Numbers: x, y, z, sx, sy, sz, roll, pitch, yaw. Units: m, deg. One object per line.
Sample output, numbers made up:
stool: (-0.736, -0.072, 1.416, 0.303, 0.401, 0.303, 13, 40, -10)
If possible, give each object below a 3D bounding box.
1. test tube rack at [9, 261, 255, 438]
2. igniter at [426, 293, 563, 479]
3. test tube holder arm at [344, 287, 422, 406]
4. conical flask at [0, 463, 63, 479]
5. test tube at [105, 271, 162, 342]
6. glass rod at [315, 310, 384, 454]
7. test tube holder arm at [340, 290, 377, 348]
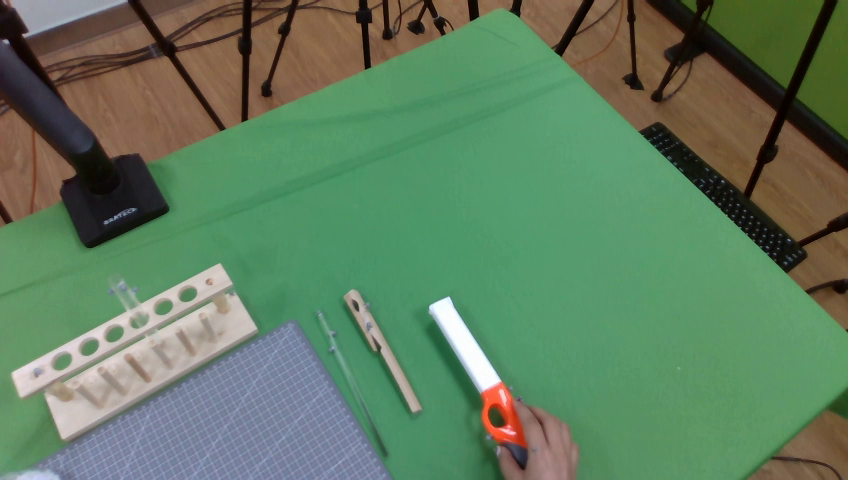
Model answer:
test tube rack: (-0.331, 0.127, 0.712, 0.242, 0.086, 0.066, -30, 66, -19)
igniter: (0.081, 0.182, 0.722, 0.057, 0.025, 0.274, -23, 64, -19)
test tube holder arm: (-0.054, 0.131, 0.761, 0.013, 0.015, 0.177, -42, 66, 14)
conical flask: (-0.426, 0.253, 0.609, 0.075, 0.123, 0.074, 1, 60, -2)
test tube: (-0.325, 0.079, 0.683, 0.017, 0.151, 0.017, 2, 55, -3)
glass rod: (-0.093, 0.170, 0.744, 0.008, 0.008, 0.198, -23, 66, -16)
test tube holder arm: (-0.082, 0.101, 0.780, 0.010, 0.015, 0.087, -41, 66, 14)
